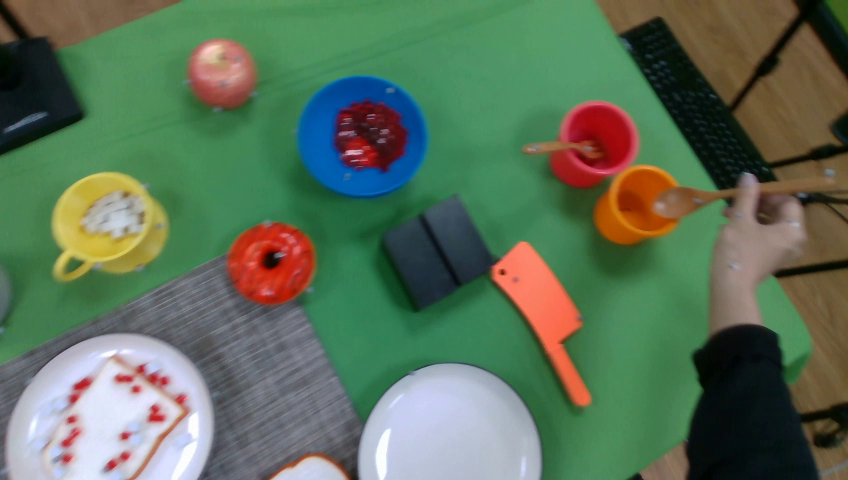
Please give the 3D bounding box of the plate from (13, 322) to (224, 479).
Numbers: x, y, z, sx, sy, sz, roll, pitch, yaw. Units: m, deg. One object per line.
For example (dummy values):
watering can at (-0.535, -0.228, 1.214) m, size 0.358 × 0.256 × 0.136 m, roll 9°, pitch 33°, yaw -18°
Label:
plate at (-0.320, 0.194, 0.649) m, size 0.208 × 0.039 × 0.206 m, roll 2°, pitch 77°, yaw -7°

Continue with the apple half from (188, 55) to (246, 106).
apple half at (-0.254, -0.182, 0.729) m, size 0.081 × 0.081 × 0.032 m, roll 27°, pitch 70°, yaw 0°

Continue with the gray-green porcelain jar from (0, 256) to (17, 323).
gray-green porcelain jar at (-0.497, 0.046, 0.620) m, size 0.106 × 0.127 × 0.105 m, roll 2°, pitch 76°, yaw -7°

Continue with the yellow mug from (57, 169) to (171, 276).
yellow mug at (-0.357, -0.011, 0.682) m, size 0.100 × 0.064 × 0.130 m, roll 37°, pitch 76°, yaw 2°

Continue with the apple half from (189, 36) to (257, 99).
apple half at (-0.238, -0.215, 0.740) m, size 0.081 × 0.075 × 0.053 m, roll 27°, pitch 69°, yaw 4°

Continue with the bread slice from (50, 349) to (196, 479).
bread slice at (-0.327, 0.199, 0.648) m, size 0.105 × 0.019 × 0.131 m, roll 34°, pitch 75°, yaw 1°

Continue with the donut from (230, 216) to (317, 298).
donut at (-0.174, 0.020, 0.705) m, size 0.099 × 0.048 × 0.098 m, roll 2°, pitch 77°, yaw -7°

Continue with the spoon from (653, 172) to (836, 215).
spoon at (0.341, -0.054, 0.665) m, size 0.022 × 0.193 × 0.041 m, roll 22°, pitch 74°, yaw -30°

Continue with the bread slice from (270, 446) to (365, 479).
bread slice at (-0.121, 0.284, 0.630) m, size 0.134 × 0.018 × 0.106 m, roll -33°, pitch 79°, yaw -33°

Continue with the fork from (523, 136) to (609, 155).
fork at (0.175, -0.116, 0.732) m, size 0.208 × 0.018 × 0.028 m, roll -10°, pitch 75°, yaw -52°

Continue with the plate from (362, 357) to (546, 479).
plate at (0.033, 0.238, 0.687) m, size 0.209 × 0.038 × 0.208 m, roll 2°, pitch 77°, yaw -6°

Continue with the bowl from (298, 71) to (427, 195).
bowl at (-0.074, -0.118, 0.736) m, size 0.152 × 0.077 × 0.150 m, roll 2°, pitch 77°, yaw -7°

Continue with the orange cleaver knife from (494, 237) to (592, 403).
orange cleaver knife at (0.161, 0.095, 0.747) m, size 0.077 × 0.012 × 0.210 m, roll -26°, pitch 80°, yaw -19°
